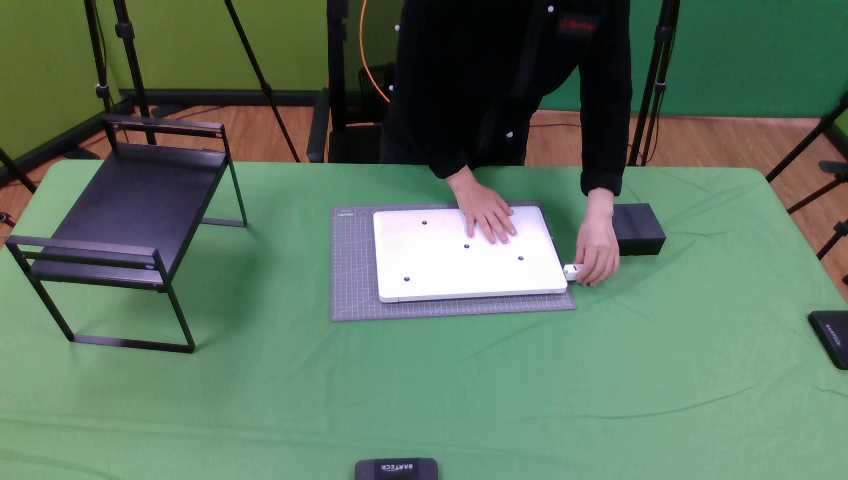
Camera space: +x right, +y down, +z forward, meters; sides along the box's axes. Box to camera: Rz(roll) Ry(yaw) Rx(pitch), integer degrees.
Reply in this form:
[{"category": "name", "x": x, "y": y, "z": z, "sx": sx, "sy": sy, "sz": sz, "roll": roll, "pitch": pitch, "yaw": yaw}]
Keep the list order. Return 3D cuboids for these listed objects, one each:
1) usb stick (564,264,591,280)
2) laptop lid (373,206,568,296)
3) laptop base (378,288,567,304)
[{"category": "usb stick", "x": 0.282, "y": 0.060, "z": 1.145, "sx": 0.059, "sy": 0.027, "sz": 0.021, "roll": -3, "pitch": 52, "yaw": -10}, {"category": "laptop lid", "x": 0.081, "y": 0.015, "z": 1.174, "sx": 0.357, "sy": 0.013, "sz": 0.240, "roll": -1, "pitch": 44, "yaw": -5}, {"category": "laptop base", "x": 0.081, "y": 0.024, "z": 1.181, "sx": 0.355, "sy": 0.023, "sz": 0.234, "roll": -3, "pitch": 43, "yaw": -6}]
